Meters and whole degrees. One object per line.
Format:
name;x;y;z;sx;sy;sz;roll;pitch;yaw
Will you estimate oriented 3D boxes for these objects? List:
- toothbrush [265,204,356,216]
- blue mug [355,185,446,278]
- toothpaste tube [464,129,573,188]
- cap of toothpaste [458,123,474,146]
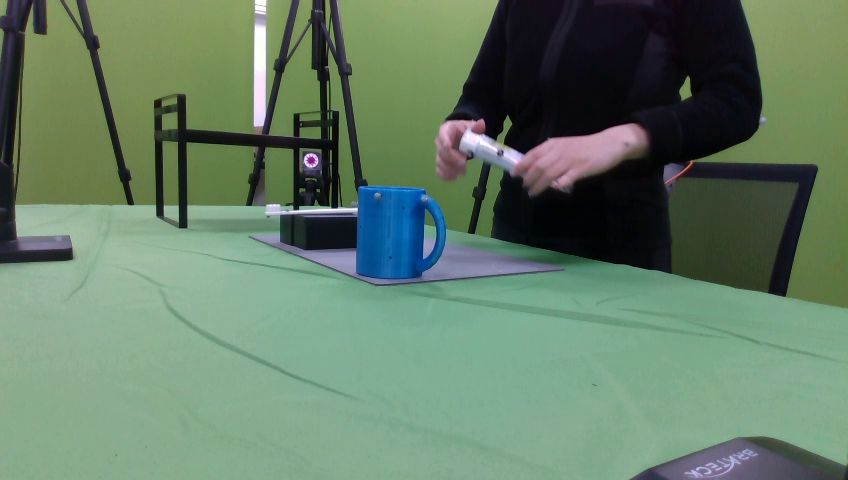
toothbrush;-0.160;-0.048;0.937;0.183;0.016;0.014;-4;4;-39
blue mug;-0.027;-0.011;0.723;0.116;0.106;0.083;6;8;27
toothpaste tube;0.128;-0.113;0.841;0.165;0.034;0.055;26;29;11
cap of toothpaste;0.061;-0.149;0.859;0.011;0.037;0.037;27;13;12
